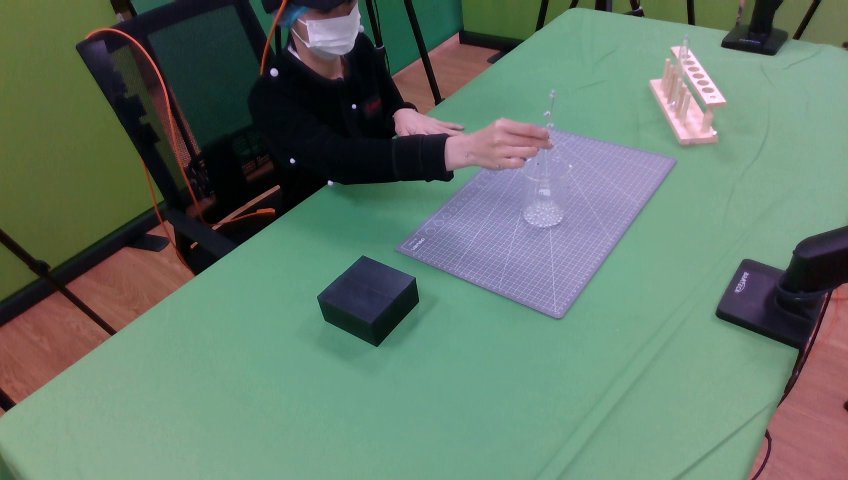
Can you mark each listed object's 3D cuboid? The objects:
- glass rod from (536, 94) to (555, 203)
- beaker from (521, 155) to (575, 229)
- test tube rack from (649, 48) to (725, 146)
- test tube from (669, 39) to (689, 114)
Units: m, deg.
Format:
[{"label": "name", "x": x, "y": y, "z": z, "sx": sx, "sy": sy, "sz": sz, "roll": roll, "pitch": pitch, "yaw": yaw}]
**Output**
[{"label": "glass rod", "x": 0.180, "y": -0.130, "z": 0.909, "sx": 0.008, "sy": 0.200, "sz": 0.008, "roll": -1, "pitch": 45, "yaw": 1}, {"label": "beaker", "x": 0.197, "y": -0.075, "z": 0.969, "sx": 0.084, "sy": 0.101, "sz": 0.073, "roll": -6, "pitch": 40, "yaw": 2}, {"label": "test tube rack", "x": 0.508, "y": -0.285, "z": 1.186, "sx": 0.067, "sy": 0.085, "sz": 0.241, "roll": -4, "pitch": 40, "yaw": 6}, {"label": "test tube", "x": 0.482, "y": -0.308, "z": 1.146, "sx": 0.017, "sy": 0.151, "sz": 0.017, "roll": -5, "pitch": 42, "yaw": 5}]
